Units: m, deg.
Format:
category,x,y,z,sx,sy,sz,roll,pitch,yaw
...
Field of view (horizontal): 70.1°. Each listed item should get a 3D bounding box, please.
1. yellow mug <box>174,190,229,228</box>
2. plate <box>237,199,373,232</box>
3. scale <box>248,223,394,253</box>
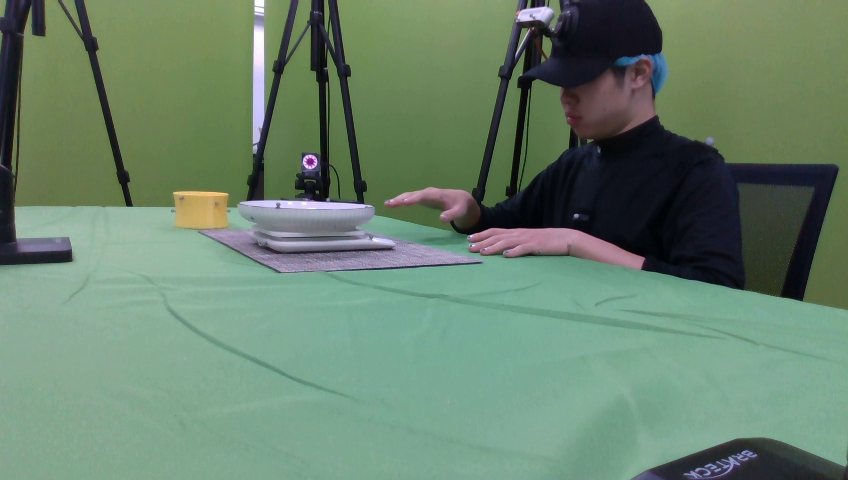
category,x,y,z,sx,sy,sz,roll,pitch,yaw
yellow mug,-0.427,-0.063,1.189,0.100,0.064,0.131,5,7,14
plate,-0.183,-0.039,0.941,0.209,0.038,0.209,3,7,0
scale,-0.162,-0.006,0.954,0.202,0.031,0.148,-2,9,-32
